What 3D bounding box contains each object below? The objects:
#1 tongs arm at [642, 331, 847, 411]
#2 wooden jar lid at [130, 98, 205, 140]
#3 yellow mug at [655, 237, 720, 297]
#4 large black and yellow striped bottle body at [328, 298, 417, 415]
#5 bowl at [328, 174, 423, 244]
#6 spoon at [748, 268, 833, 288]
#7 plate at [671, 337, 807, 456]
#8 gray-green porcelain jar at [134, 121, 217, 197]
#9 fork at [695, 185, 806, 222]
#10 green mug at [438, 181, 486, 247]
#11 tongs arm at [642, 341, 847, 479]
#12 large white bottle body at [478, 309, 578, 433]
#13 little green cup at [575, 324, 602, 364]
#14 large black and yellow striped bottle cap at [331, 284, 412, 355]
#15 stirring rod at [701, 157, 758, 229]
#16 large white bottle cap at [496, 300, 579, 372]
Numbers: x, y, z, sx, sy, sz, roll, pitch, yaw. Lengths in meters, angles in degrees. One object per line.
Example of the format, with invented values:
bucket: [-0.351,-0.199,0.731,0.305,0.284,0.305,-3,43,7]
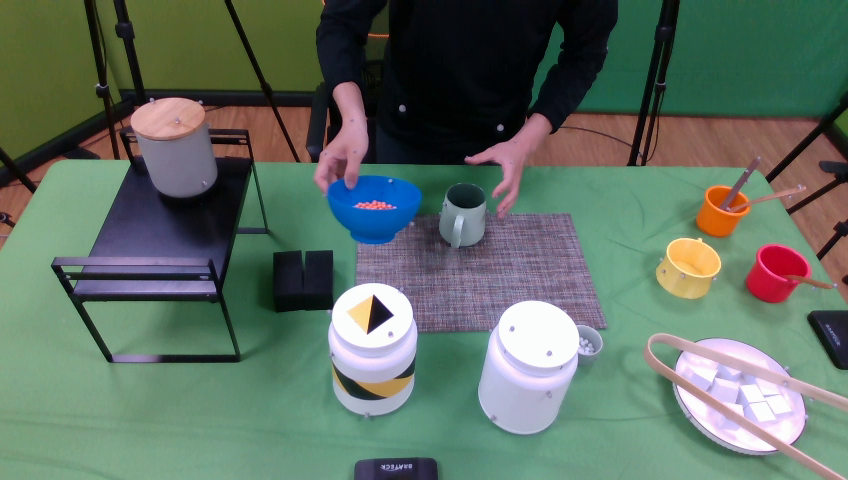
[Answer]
tongs arm: [0.546,0.227,0.968,0.384,0.026,0.050,22,52,13]
wooden jar lid: [-0.393,-0.183,0.934,0.108,0.021,0.107,3,44,-2]
yellow mug: [0.509,0.041,1.167,0.099,0.064,0.130,24,48,18]
large black and yellow striped bottle body: [-0.078,0.167,0.920,0.131,0.185,0.130,2,46,-2]
bowl: [-0.079,-0.045,0.976,0.151,0.077,0.150,4,26,-2]
spoon: [0.660,0.068,1.097,0.041,0.193,0.021,-4,91,-6]
plate: [0.503,0.254,0.984,0.208,0.039,0.206,2,46,-2]
gray-green porcelain jar: [-0.397,-0.141,0.980,0.106,0.127,0.105,2,47,-2]
fork: [0.658,-0.074,1.230,0.207,0.019,0.028,-23,36,37]
green mug: [0.072,-0.039,1.177,0.092,0.105,0.124,12,47,7]
tongs arm: [0.504,0.278,0.918,0.386,0.028,0.028,34,59,22]
large white bottle body: [0.155,0.192,0.913,0.131,0.185,0.130,2,46,-2]
little green cup: [0.269,0.179,1.035,0.061,0.039,0.061,2,45,-2]
large black and yellow striped bottle cap: [-0.073,0.110,0.858,0.115,0.019,0.114,2,46,-2]
stirring rod: [0.634,-0.096,1.257,0.014,0.006,0.176,38,97,30]
large white bottle cap: [0.160,0.133,0.852,0.115,0.018,0.114,3,46,-3]
